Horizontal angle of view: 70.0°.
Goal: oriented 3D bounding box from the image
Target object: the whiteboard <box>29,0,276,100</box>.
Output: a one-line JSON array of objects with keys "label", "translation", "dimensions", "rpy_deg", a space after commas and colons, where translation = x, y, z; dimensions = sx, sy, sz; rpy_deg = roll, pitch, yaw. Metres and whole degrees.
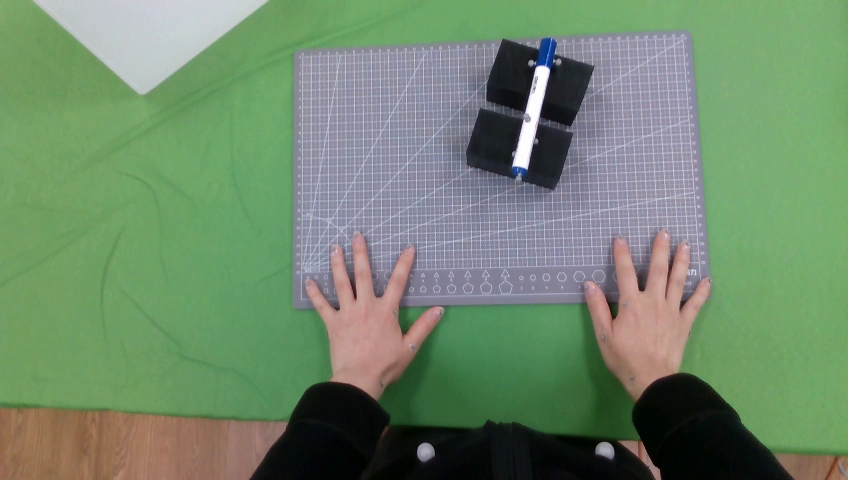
[{"label": "whiteboard", "translation": [-0.327, -0.339, 0.617], "dimensions": [0.217, 0.308, 0.142], "rpy_deg": [-37, 61, -1]}]

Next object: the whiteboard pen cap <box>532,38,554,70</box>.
[{"label": "whiteboard pen cap", "translation": [0.122, -0.189, 0.625], "dimensions": [0.018, 0.018, 0.033], "rpy_deg": [13, 81, 6]}]

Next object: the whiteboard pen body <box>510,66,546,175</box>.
[{"label": "whiteboard pen body", "translation": [0.109, -0.133, 0.616], "dimensions": [0.017, 0.017, 0.140], "rpy_deg": [13, 81, 6]}]
